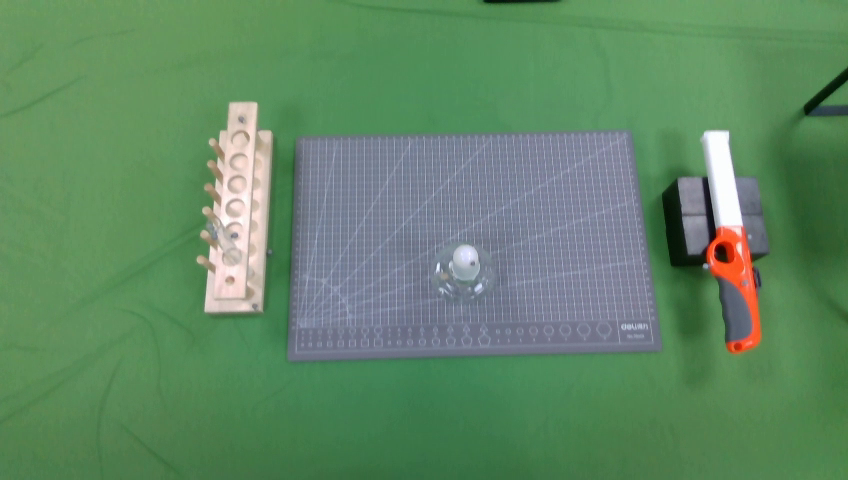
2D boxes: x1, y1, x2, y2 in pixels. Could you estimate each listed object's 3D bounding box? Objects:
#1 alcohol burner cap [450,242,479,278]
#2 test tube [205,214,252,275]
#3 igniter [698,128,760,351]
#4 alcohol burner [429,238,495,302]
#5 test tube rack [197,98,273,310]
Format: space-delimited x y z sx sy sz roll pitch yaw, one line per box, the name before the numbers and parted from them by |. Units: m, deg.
alcohol burner cap | 0.045 0.019 0.665 0.034 0.048 0.033 -1 68 2
test tube | -0.212 0.009 0.666 0.017 0.151 0.017 1 68 -2
igniter | 0.358 -0.006 0.717 0.057 0.025 0.274 1 72 2
alcohol burner | 0.044 0.031 0.699 0.078 0.119 0.077 0 75 0
test tube rack | -0.232 -0.042 0.732 0.067 0.085 0.241 -1 73 -1
